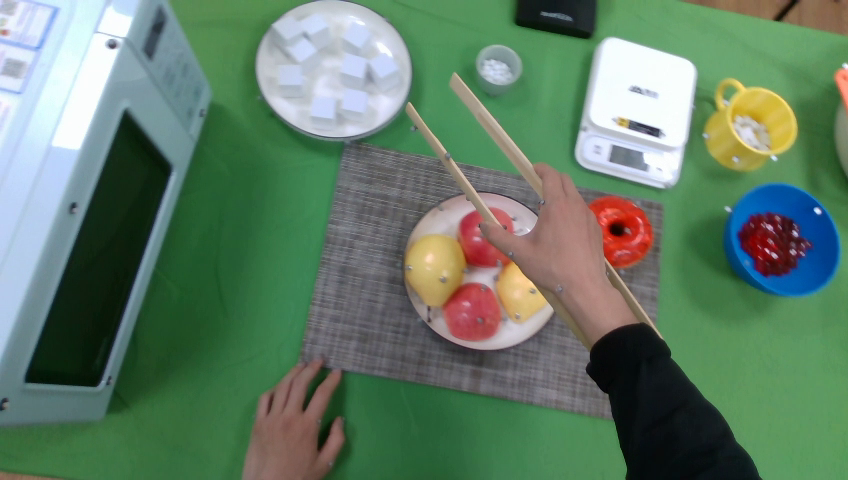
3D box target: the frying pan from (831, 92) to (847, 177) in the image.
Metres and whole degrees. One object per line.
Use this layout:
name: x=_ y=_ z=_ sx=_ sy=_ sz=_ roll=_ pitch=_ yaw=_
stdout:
frying pan: x=0.758 y=-0.059 z=0.846 sx=0.307 sy=0.103 sz=0.484 roll=-16 pitch=71 yaw=-8

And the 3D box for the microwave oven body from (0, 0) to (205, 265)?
microwave oven body: x=-0.472 y=-0.070 z=0.632 sx=0.326 sy=0.261 sz=0.439 roll=13 pitch=76 yaw=-3

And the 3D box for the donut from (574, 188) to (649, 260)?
donut: x=0.249 y=-0.021 z=0.809 sx=0.099 sy=0.048 sz=0.098 roll=1 pitch=77 yaw=-3

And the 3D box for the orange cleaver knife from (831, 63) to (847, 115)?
orange cleaver knife: x=0.610 y=-0.155 z=0.833 sx=0.077 sy=0.012 sz=0.210 roll=2 pitch=77 yaw=-9

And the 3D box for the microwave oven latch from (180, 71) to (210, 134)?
microwave oven latch: x=-0.299 y=-0.179 z=0.776 sx=0.030 sy=0.029 sz=0.079 roll=15 pitch=76 yaw=-3

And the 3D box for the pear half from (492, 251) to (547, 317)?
pear half: x=0.122 y=0.053 z=0.774 sx=0.070 sy=0.031 sz=0.087 roll=9 pitch=73 yaw=10

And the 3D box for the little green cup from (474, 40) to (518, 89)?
little green cup: x=0.099 y=-0.245 z=0.854 sx=0.061 sy=0.039 sz=0.061 roll=1 pitch=76 yaw=-5

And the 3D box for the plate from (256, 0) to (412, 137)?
plate: x=-0.121 y=-0.234 z=0.828 sx=0.208 sy=0.039 sz=0.206 roll=2 pitch=76 yaw=-6

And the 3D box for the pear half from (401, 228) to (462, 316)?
pear half: x=0.011 y=0.039 z=0.750 sx=0.076 sy=0.056 sz=0.109 roll=6 pitch=79 yaw=-14

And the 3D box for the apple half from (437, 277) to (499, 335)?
apple half: x=0.057 y=0.080 z=0.758 sx=0.081 sy=0.033 sz=0.080 roll=2 pitch=69 yaw=-6

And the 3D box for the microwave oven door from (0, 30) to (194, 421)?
microwave oven door: x=-0.338 y=0.003 z=0.623 sx=0.039 sy=0.244 sz=0.354 roll=13 pitch=75 yaw=-2

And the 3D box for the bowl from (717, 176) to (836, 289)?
bowl: x=0.455 y=-0.003 z=0.814 sx=0.151 sy=0.077 sz=0.150 roll=1 pitch=77 yaw=-5

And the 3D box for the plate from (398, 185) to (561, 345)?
plate: x=0.071 y=0.033 z=0.780 sx=0.209 sy=0.038 sz=0.208 roll=2 pitch=76 yaw=-6

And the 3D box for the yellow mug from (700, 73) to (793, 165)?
yellow mug: x=0.449 y=-0.178 z=0.861 sx=0.100 sy=0.064 sz=0.130 roll=-21 pitch=79 yaw=-10

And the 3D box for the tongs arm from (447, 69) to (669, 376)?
tongs arm: x=0.137 y=-0.024 z=0.639 sx=0.028 sy=0.028 sz=0.386 roll=-33 pitch=84 yaw=-22

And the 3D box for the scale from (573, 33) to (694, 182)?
scale: x=0.300 y=-0.191 z=0.866 sx=0.149 sy=0.031 sz=0.200 roll=15 pitch=76 yaw=-2

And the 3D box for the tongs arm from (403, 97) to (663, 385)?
tongs arm: x=0.108 y=-0.003 z=0.628 sx=0.051 sy=0.026 sz=0.383 roll=-33 pitch=84 yaw=-18

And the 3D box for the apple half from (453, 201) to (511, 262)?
apple half: x=0.076 y=-0.014 z=0.774 sx=0.075 sy=0.053 sz=0.080 roll=-1 pitch=80 yaw=-3
